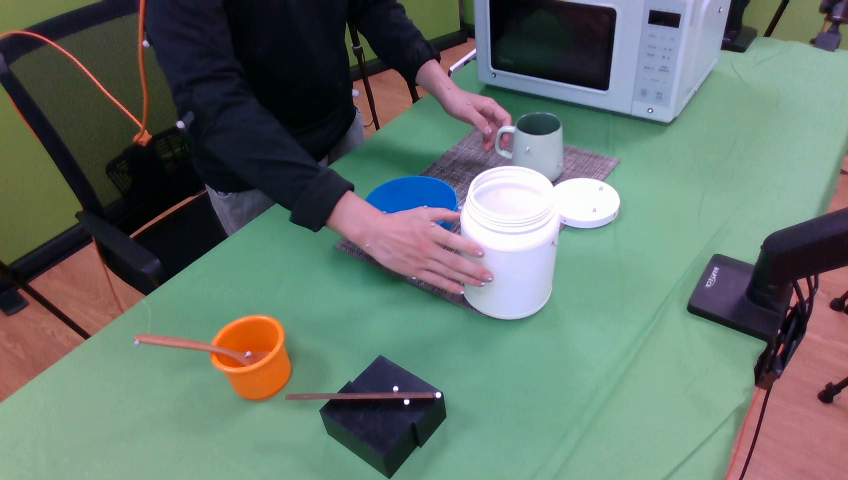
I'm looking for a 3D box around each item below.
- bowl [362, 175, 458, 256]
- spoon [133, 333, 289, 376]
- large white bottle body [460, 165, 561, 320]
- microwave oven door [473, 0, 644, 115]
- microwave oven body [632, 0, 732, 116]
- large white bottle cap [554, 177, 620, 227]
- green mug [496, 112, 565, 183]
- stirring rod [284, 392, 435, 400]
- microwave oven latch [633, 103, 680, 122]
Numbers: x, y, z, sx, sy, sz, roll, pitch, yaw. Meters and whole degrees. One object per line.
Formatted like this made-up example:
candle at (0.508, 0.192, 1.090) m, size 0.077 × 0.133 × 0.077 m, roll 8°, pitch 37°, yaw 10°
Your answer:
bowl at (-0.018, -0.029, 0.955) m, size 0.151 × 0.077 × 0.150 m, roll -3°, pitch 40°, yaw 3°
spoon at (-0.257, 0.137, 0.747) m, size 0.021 × 0.195 × 0.041 m, roll -47°, pitch 40°, yaw 23°
large white bottle body at (0.115, 0.004, 0.816) m, size 0.130 × 0.185 × 0.130 m, roll -2°, pitch 43°, yaw 3°
microwave oven door at (0.257, -0.396, 1.199) m, size 0.353 × 0.245 × 0.039 m, roll 21°, pitch 48°, yaw 29°
microwave oven body at (0.377, -0.463, 1.267) m, size 0.438 × 0.261 × 0.327 m, roll 21°, pitch 49°, yaw 30°
large white bottle cap at (0.265, -0.064, 1.000) m, size 0.115 × 0.018 × 0.114 m, roll -1°, pitch 43°, yaw 2°
green mug at (0.184, -0.161, 1.061) m, size 0.124 × 0.105 × 0.092 m, roll 15°, pitch 46°, yaw 24°
stirring rod at (-0.075, 0.180, 0.698) m, size 0.176 × 0.006 × 0.014 m, roll -2°, pitch 6°, yaw 6°
microwave oven latch at (0.443, -0.249, 1.157) m, size 0.078 × 0.029 × 0.030 m, roll 21°, pitch 49°, yaw 30°
